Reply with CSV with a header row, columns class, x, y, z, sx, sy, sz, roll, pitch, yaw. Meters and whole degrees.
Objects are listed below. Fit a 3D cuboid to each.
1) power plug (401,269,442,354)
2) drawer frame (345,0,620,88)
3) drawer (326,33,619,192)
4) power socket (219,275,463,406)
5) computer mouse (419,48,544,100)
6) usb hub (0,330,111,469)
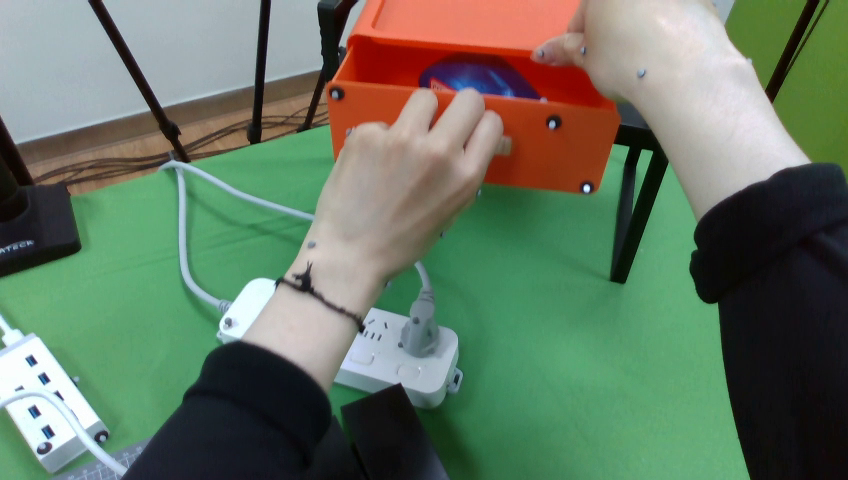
class,x,y,z,sx,sy,sz,roll,pitch,yaw
power plug,0.006,0.069,0.533,0.035,0.053,0.072,22,50,21
drawer frame,0.053,-0.185,0.531,0.201,0.083,0.211,6,45,4
drawer,0.044,-0.138,0.485,0.194,0.074,0.210,7,45,5
power socket,-0.075,0.087,0.544,0.226,0.033,0.072,14,45,12
computer mouse,0.051,-0.118,0.484,0.063,0.041,0.116,-27,60,-29
usb hub,-0.314,0.128,0.499,0.124,0.025,0.049,34,54,28
